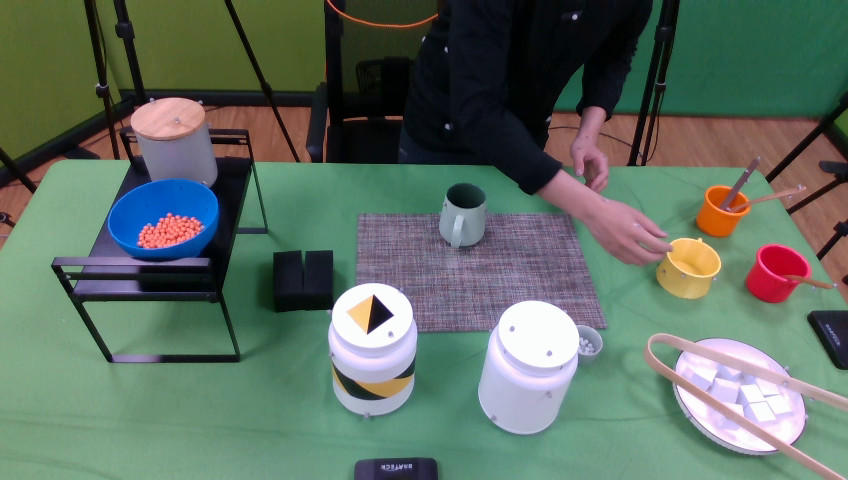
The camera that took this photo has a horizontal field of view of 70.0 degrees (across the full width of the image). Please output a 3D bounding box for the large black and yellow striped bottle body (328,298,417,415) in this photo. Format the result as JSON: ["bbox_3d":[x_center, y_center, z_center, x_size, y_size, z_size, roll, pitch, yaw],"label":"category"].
[{"bbox_3d":[-0.078,0.167,0.920,0.131,0.185,0.130,2,46,-2],"label":"large black and yellow striped bottle body"}]

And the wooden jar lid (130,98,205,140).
[{"bbox_3d":[-0.393,-0.183,0.934,0.108,0.021,0.107,2,44,-2],"label":"wooden jar lid"}]

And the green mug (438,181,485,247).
[{"bbox_3d":[0.071,-0.039,1.177,0.092,0.105,0.124,12,47,7],"label":"green mug"}]

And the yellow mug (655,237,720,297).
[{"bbox_3d":[0.509,0.042,1.167,0.099,0.064,0.130,23,48,18],"label":"yellow mug"}]

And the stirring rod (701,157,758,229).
[{"bbox_3d":[0.634,-0.097,1.257,0.014,0.006,0.176,38,97,29],"label":"stirring rod"}]

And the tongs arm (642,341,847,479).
[{"bbox_3d":[0.504,0.278,0.918,0.386,0.028,0.028,34,59,22],"label":"tongs arm"}]

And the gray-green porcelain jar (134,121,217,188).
[{"bbox_3d":[-0.397,-0.141,0.980,0.106,0.127,0.105,2,47,-2],"label":"gray-green porcelain jar"}]

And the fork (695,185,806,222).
[{"bbox_3d":[0.658,-0.074,1.229,0.207,0.019,0.028,-23,36,37],"label":"fork"}]

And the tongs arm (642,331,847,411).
[{"bbox_3d":[0.546,0.227,0.968,0.384,0.026,0.050,22,52,13],"label":"tongs arm"}]

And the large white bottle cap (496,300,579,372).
[{"bbox_3d":[0.159,0.133,0.852,0.115,0.018,0.114,3,46,-3],"label":"large white bottle cap"}]

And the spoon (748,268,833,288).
[{"bbox_3d":[0.660,0.068,1.097,0.041,0.193,0.021,-4,91,-6],"label":"spoon"}]

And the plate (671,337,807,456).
[{"bbox_3d":[0.504,0.254,0.984,0.208,0.039,0.206,2,46,-2],"label":"plate"}]

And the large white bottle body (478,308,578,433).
[{"bbox_3d":[0.155,0.192,0.913,0.131,0.185,0.130,2,46,-2],"label":"large white bottle body"}]

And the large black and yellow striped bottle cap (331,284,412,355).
[{"bbox_3d":[-0.073,0.110,0.857,0.115,0.019,0.114,2,46,-2],"label":"large black and yellow striped bottle cap"}]

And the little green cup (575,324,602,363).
[{"bbox_3d":[0.269,0.179,1.035,0.061,0.039,0.061,3,45,-3],"label":"little green cup"}]

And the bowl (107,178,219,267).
[{"bbox_3d":[-0.374,-0.014,0.893,0.151,0.077,0.150,2,46,-2],"label":"bowl"}]
